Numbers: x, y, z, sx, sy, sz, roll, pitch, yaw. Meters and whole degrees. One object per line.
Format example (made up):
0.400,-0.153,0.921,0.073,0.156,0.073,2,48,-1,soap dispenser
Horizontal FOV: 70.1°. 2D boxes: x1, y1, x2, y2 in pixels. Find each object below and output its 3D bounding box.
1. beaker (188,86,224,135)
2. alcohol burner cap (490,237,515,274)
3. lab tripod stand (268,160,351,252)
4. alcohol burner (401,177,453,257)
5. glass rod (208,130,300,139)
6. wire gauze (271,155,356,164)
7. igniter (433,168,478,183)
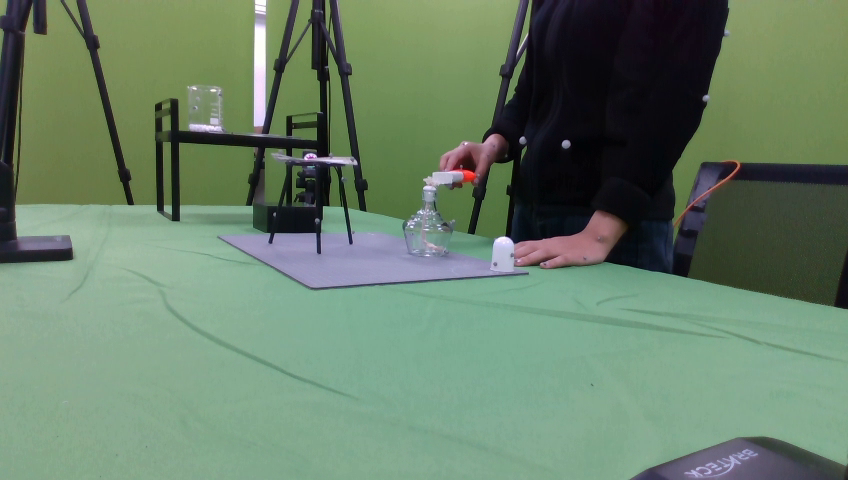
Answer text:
-0.474,-0.280,1.311,0.074,0.100,0.084,5,8,26,beaker
0.104,0.020,0.793,0.034,0.048,0.034,2,6,0,alcohol burner cap
-0.172,-0.055,0.922,0.148,0.131,0.148,1,9,0,lab tripod stand
0.006,-0.035,0.903,0.078,0.119,0.078,4,6,0,alcohol burner
-0.367,-0.231,1.321,0.201,0.008,0.008,-1,8,-30,glass rod
-0.167,-0.122,0.917,0.125,0.011,0.121,0,7,-9,wire gauze
0.057,-0.111,1.044,0.057,0.025,0.277,2,7,12,igniter
